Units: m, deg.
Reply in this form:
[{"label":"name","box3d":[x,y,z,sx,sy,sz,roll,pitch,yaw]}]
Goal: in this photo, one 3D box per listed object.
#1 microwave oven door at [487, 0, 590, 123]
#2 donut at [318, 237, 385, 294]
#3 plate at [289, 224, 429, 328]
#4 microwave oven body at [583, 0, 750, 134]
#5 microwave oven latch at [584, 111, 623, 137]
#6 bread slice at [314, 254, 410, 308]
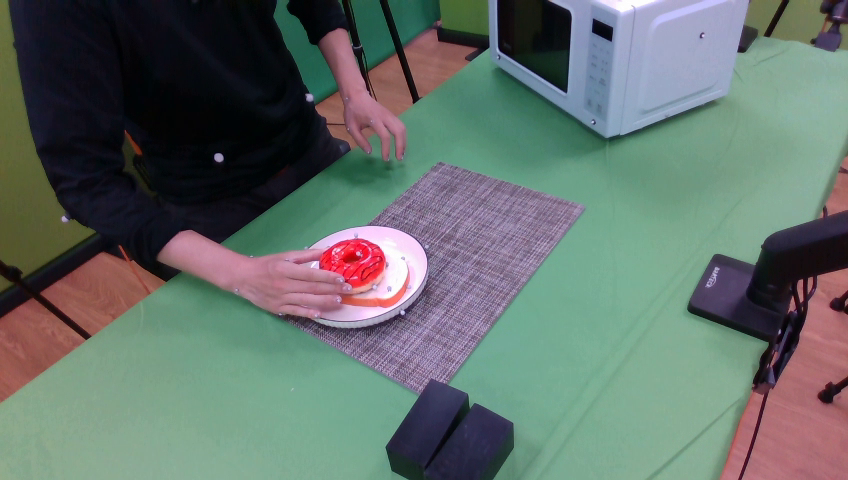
[{"label":"microwave oven door","box3d":[0.232,-0.420,1.230,0.039,0.245,0.352,-22,43,-16]},{"label":"donut","box3d":[-0.105,0.036,0.876,0.099,0.048,0.098,0,43,1]},{"label":"plate","box3d":[-0.094,0.055,0.902,0.207,0.039,0.206,-4,41,4]},{"label":"microwave oven body","box3d":[0.382,-0.445,1.246,0.327,0.261,0.437,-22,42,-16]},{"label":"microwave oven latch","box3d":[0.337,-0.222,1.142,0.030,0.029,0.078,-21,42,-14]},{"label":"bread slice","box3d":[-0.086,0.057,0.900,0.131,0.019,0.104,4,43,15]}]
